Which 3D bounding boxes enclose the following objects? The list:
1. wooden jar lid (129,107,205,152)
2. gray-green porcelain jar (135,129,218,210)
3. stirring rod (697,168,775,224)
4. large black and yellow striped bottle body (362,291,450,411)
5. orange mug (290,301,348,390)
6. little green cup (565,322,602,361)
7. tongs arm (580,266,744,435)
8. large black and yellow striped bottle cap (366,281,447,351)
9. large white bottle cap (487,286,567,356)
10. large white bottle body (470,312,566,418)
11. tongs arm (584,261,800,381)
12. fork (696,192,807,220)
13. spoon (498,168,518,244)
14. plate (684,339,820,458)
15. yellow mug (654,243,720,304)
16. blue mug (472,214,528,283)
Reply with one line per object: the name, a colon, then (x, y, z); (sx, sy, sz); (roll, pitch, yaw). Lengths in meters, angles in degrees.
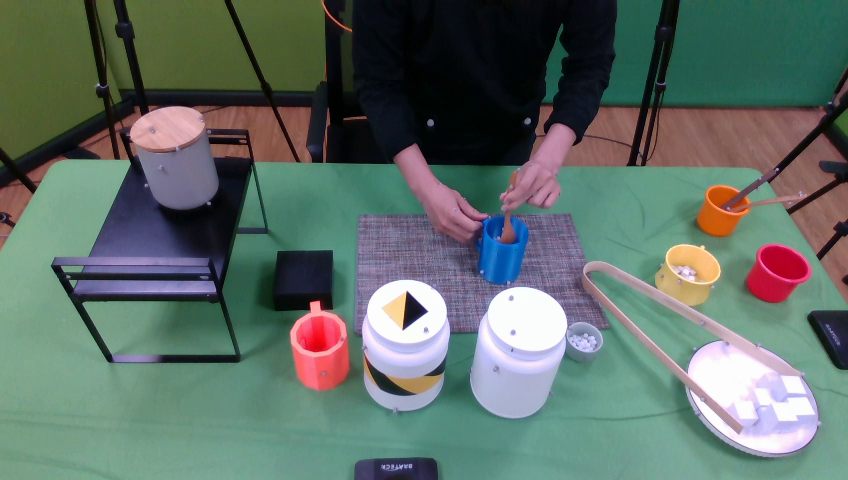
wooden jar lid: (-0.385, -0.163, 0.915); (0.108, 0.021, 0.107); (2, 47, -2)
gray-green porcelain jar: (-0.388, -0.120, 0.960); (0.106, 0.127, 0.105); (2, 46, -2)
stirring rod: (0.644, -0.090, 1.252); (0.176, 0.006, 0.014); (-40, 53, 16)
large black and yellow striped bottle body: (-0.029, 0.163, 0.928); (0.131, 0.185, 0.130); (2, 47, -2)
orange mug: (-0.170, 0.162, 0.976); (0.083, 0.101, 0.125); (-7, 52, -11)
little green cup: (0.271, 0.176, 1.039); (0.061, 0.039, 0.061); (2, 46, -2)
tongs arm: (0.384, 0.173, 1.028); (0.028, 0.028, 0.385); (-25, 46, -15)
large black and yellow striped bottle cap: (-0.025, 0.106, 0.866); (0.115, 0.019, 0.114); (2, 46, -1)
large white bottle cap: (0.147, 0.115, 0.869); (0.115, 0.018, 0.114); (3, 46, -3)
large white bottle body: (0.143, 0.173, 0.930); (0.131, 0.185, 0.130); (2, 46, -2)
tongs arm: (0.452, 0.137, 1.064); (0.051, 0.027, 0.382); (-34, 50, -27)
fork: (0.655, -0.069, 1.224); (0.207, 0.019, 0.028); (-17, 33, 45)
spoon: (0.148, -0.050, 1.065); (0.041, 0.195, 0.021); (-23, 47, -20)
plate: (0.523, 0.256, 0.982); (0.208, 0.039, 0.206); (2, 46, -2)
yellow mug: (0.504, 0.054, 1.154); (0.099, 0.064, 0.130); (28, 50, 22)
blue mug: (0.133, 0.008, 1.136); (0.082, 0.106, 0.116); (-33, 56, -30)
